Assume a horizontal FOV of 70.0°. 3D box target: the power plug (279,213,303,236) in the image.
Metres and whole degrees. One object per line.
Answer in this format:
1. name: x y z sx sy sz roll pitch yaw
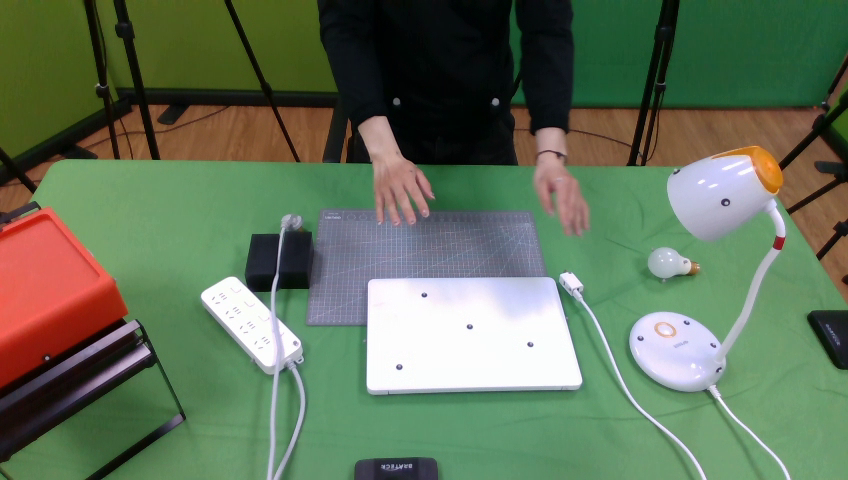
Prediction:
1. power plug: -0.263 -0.021 1.184 0.035 0.053 0.072 -1 48 32

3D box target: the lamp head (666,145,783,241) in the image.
1. lamp head: 0.408 -0.067 0.806 0.113 0.123 0.112 15 63 -32

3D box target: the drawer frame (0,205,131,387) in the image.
1. drawer frame: -0.539 0.075 0.795 0.200 0.083 0.213 36 54 26

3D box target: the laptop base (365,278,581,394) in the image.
1. laptop base: 0.077 0.162 1.053 0.355 0.023 0.234 0 44 -4

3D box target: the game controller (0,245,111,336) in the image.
1. game controller: -0.510 0.062 0.830 0.097 0.052 0.154 -30 58 -30

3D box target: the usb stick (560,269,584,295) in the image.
1. usb stick: 0.275 0.077 1.142 0.027 0.021 0.059 -12 39 -12

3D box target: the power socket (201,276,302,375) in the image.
1. power socket: -0.296 0.142 1.034 0.072 0.033 0.225 -34 58 -30

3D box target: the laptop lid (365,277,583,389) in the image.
1. laptop lid: 0.077 0.152 1.046 0.357 0.013 0.240 1 45 -3

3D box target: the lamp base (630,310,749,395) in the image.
1. lamp base: 0.447 0.142 0.984 0.161 0.181 0.178 -24 55 -24

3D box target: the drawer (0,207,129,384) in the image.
1. drawer: -0.539 0.074 0.798 0.193 0.073 0.211 37 55 27

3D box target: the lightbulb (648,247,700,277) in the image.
1. lightbulb: 0.485 0.046 1.170 0.108 0.060 0.059 10 45 -16
